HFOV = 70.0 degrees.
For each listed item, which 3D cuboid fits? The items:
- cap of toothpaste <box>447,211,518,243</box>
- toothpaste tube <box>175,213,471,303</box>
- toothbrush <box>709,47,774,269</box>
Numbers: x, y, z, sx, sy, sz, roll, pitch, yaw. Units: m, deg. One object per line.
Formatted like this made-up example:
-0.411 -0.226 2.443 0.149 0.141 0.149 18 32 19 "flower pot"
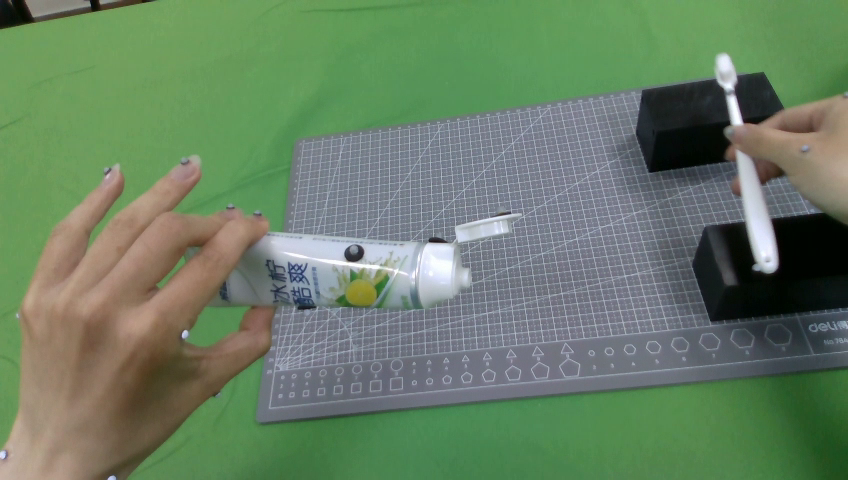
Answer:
0.030 -0.006 0.303 0.037 0.037 0.011 -13 86 3 "cap of toothpaste"
-0.056 0.012 0.325 0.164 0.055 0.034 1 23 14 "toothpaste tube"
0.218 -0.064 0.419 0.014 0.017 0.180 -11 60 25 "toothbrush"
